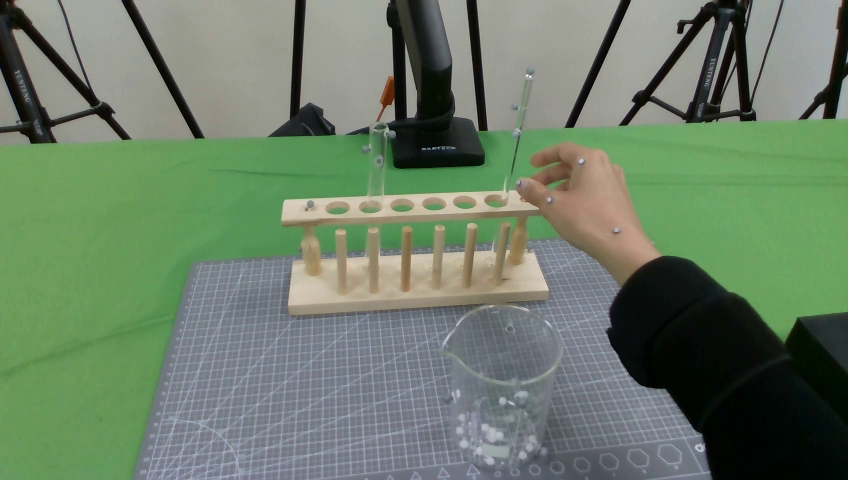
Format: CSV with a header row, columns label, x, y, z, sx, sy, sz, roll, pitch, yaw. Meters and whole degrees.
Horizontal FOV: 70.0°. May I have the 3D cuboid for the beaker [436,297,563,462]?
label,x,y,z,sx,sy,sz,roll,pitch,yaw
beaker,0.050,0.102,0.430,0.084,0.101,0.073,-2,37,-3

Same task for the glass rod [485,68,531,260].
label,x,y,z,sx,sy,sz,roll,pitch,yaw
glass rod,0.072,-0.058,0.541,0.008,0.201,0.008,5,39,-3

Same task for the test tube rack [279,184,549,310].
label,x,y,z,sx,sy,sz,roll,pitch,yaw
test tube rack,-0.007,0.005,0.565,0.243,0.086,0.066,-3,38,-6

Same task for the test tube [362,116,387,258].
label,x,y,z,sx,sy,sz,roll,pitch,yaw
test tube,-0.046,-0.041,0.542,0.017,0.151,0.017,5,39,-3
